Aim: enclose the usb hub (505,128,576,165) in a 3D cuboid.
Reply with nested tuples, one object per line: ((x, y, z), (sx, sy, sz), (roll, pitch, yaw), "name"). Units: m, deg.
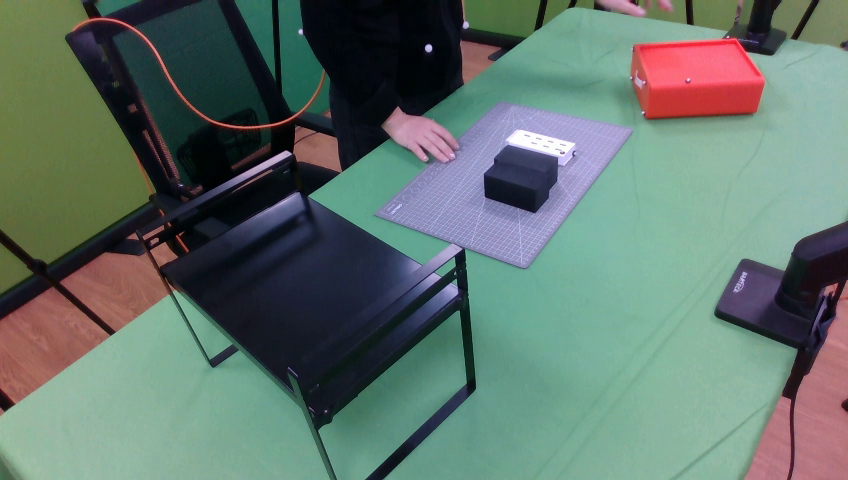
((0.219, -0.177, 1.142), (0.124, 0.025, 0.049), (21, 48, 30), "usb hub")

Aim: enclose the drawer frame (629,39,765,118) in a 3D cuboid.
((0.543, -0.332, 1.234), (0.213, 0.083, 0.201), (-1, 41, 6), "drawer frame")

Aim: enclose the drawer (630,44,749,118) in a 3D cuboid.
((0.542, -0.329, 1.235), (0.211, 0.073, 0.193), (0, 41, 6), "drawer")
